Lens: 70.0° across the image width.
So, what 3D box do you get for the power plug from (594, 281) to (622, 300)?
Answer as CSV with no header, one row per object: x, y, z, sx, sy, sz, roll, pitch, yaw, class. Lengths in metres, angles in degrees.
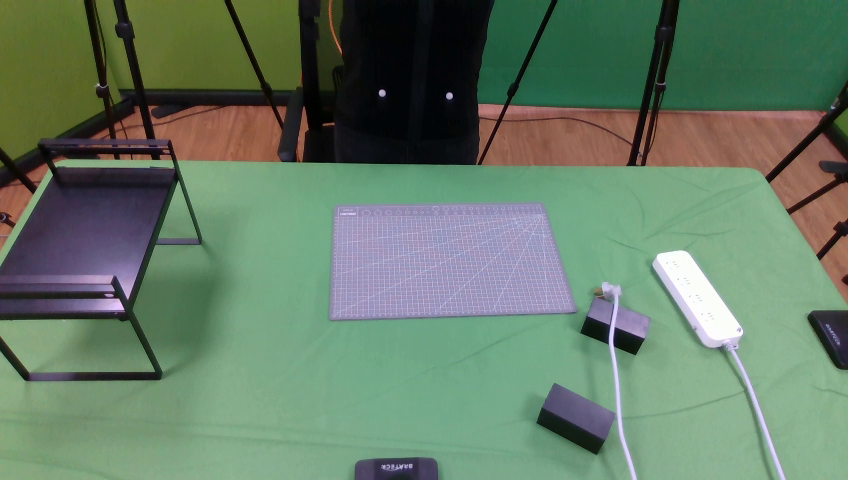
0.331,0.093,1.106,0.052,0.073,0.035,-17,81,28,power plug

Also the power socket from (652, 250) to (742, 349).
0.502,0.104,1.126,0.072,0.033,0.225,-8,48,-11,power socket
